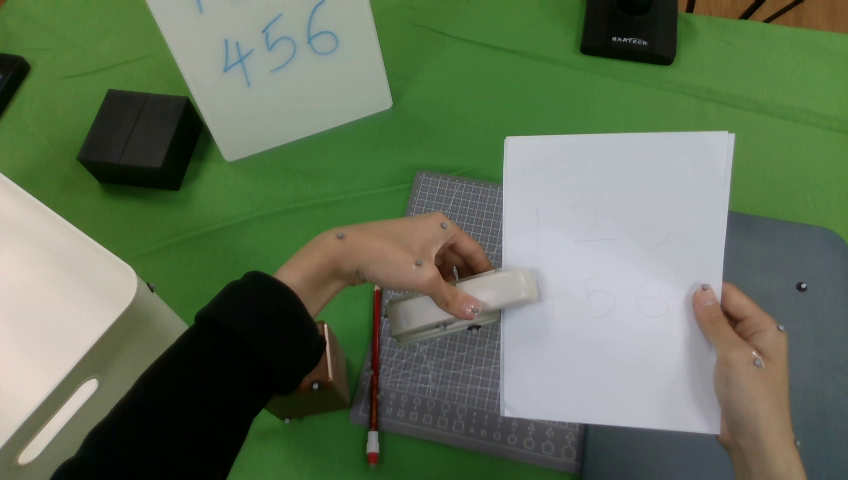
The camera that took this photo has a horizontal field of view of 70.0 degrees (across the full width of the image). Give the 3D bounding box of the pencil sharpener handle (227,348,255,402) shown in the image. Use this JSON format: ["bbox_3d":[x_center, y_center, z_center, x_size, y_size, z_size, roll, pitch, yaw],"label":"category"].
[{"bbox_3d":[-0.169,0.128,0.552,0.030,0.068,0.035,-10,48,-2],"label":"pencil sharpener handle"}]

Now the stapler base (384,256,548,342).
[{"bbox_3d":[0.028,0.045,0.466,0.130,0.024,0.041,-16,77,15],"label":"stapler base"}]

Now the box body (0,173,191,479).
[{"bbox_3d":[-0.442,0.072,0.568,0.362,0.161,0.253,30,69,15],"label":"box body"}]

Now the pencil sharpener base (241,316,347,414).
[{"bbox_3d":[-0.119,0.120,0.568,0.077,0.108,0.061,-10,65,-3],"label":"pencil sharpener base"}]

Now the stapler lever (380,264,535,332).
[{"bbox_3d":[0.023,0.044,0.450,0.118,0.040,0.026,-14,77,6],"label":"stapler lever"}]

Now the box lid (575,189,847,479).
[{"bbox_3d":[0.299,0.122,0.610,0.263,0.015,0.369,11,66,5],"label":"box lid"}]

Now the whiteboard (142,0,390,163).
[{"bbox_3d":[-0.188,-0.280,0.682,0.217,0.308,0.142,-20,46,-7],"label":"whiteboard"}]

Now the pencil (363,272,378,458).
[{"bbox_3d":[-0.053,0.122,0.618,0.012,0.012,0.192,-1,64,2],"label":"pencil"}]
